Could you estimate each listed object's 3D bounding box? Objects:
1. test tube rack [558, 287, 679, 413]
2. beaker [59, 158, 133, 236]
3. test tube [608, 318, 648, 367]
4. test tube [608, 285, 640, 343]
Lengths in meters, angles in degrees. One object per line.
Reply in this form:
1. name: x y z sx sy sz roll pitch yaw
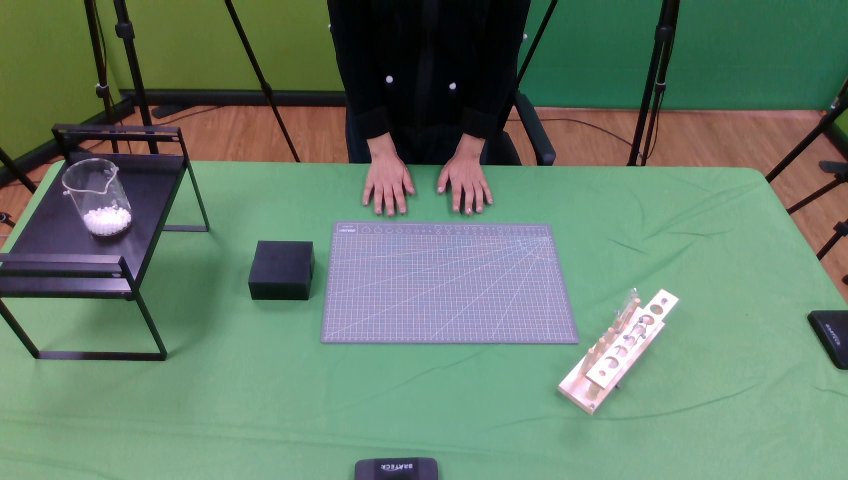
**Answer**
1. test tube rack: 0.326 0.170 1.009 0.066 0.085 0.242 36 54 27
2. beaker: -0.488 -0.060 0.915 0.074 0.101 0.083 -35 58 -31
3. test tube: 0.311 0.169 0.940 0.017 0.151 0.017 5 48 -5
4. test tube: 0.324 0.123 0.992 0.017 0.151 0.017 2 48 -2
